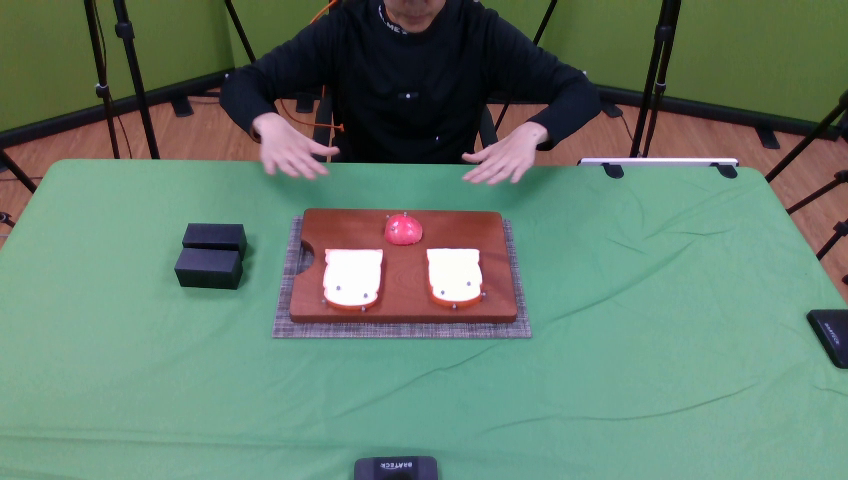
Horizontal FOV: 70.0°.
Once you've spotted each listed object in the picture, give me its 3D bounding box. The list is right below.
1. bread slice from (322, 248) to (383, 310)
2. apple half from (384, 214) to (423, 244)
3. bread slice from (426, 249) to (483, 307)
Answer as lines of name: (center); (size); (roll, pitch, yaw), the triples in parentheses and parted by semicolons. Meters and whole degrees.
bread slice: (-0.126, 0.068, 1.083); (0.107, 0.018, 0.133); (-1, 47, -4)
apple half: (-0.039, -0.028, 1.172); (0.081, 0.033, 0.081); (0, 45, 0)
bread slice: (0.058, 0.066, 1.100); (0.105, 0.019, 0.130); (-1, 45, -3)
